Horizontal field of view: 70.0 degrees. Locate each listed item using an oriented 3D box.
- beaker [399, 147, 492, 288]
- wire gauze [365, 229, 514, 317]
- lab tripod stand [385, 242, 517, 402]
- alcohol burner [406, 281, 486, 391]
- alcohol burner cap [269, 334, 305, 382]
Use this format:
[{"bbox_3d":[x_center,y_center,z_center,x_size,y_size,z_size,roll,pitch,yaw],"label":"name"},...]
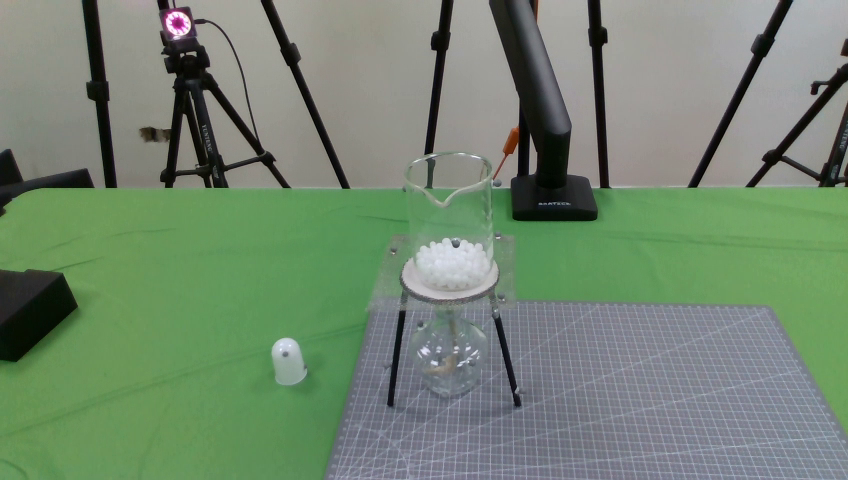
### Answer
[{"bbox_3d":[0.020,-0.016,0.506,0.074,0.101,0.083,1,33,9],"label":"beaker"},{"bbox_3d":[0.018,0.024,0.534,0.121,0.011,0.124,-1,34,8],"label":"wire gauze"},{"bbox_3d":[0.022,0.077,0.573,0.148,0.132,0.147,-3,32,2],"label":"lab tripod stand"},{"bbox_3d":[0.021,0.086,0.578,0.078,0.120,0.077,-1,34,1],"label":"alcohol burner"},{"bbox_3d":[-0.140,0.117,0.615,0.034,0.048,0.033,-1,34,1],"label":"alcohol burner cap"}]
